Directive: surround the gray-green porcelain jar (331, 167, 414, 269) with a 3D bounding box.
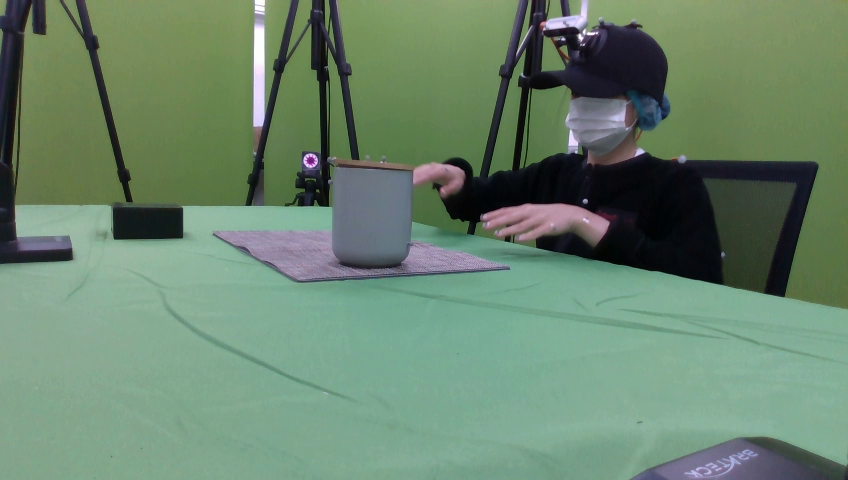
[{"bbox_3d":[-0.068,-0.030,0.791,0.106,0.126,0.106,3,7,0],"label":"gray-green porcelain jar"}]

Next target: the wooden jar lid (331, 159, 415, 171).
[{"bbox_3d":[-0.066,-0.091,0.783,0.108,0.020,0.108,5,8,0],"label":"wooden jar lid"}]
